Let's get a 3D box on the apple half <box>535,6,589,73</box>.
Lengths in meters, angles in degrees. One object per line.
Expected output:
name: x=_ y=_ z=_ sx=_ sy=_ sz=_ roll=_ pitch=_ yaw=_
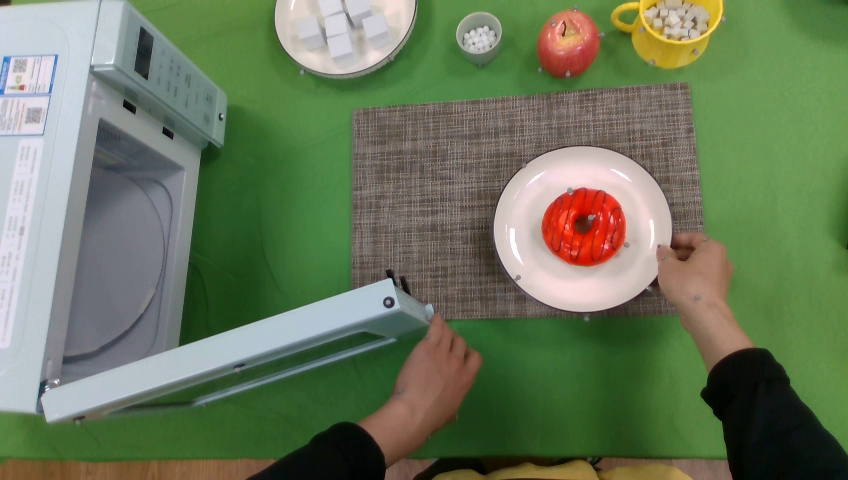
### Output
apple half: x=0.173 y=-0.253 z=0.789 sx=0.053 sy=0.075 sz=0.080 roll=-29 pitch=79 yaw=7

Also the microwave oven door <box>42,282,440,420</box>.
microwave oven door: x=-0.172 y=0.124 z=0.664 sx=0.356 sy=0.245 sz=0.039 roll=-19 pitch=75 yaw=5

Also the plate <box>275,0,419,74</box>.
plate: x=-0.108 y=-0.330 z=0.866 sx=0.207 sy=0.039 sz=0.206 roll=-2 pitch=79 yaw=9

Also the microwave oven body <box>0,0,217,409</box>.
microwave oven body: x=-0.466 y=-0.031 z=0.746 sx=0.325 sy=0.261 sz=0.440 roll=0 pitch=80 yaw=9

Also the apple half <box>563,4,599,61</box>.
apple half: x=0.207 y=-0.272 z=0.786 sx=0.033 sy=0.082 sz=0.081 roll=-30 pitch=75 yaw=7

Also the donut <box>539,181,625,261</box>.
donut: x=0.187 y=-0.022 z=0.718 sx=0.099 sy=0.048 sz=0.098 roll=-3 pitch=78 yaw=12

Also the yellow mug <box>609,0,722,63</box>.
yellow mug: x=0.305 y=-0.289 z=0.778 sx=0.130 sy=0.064 sz=0.099 roll=8 pitch=80 yaw=11

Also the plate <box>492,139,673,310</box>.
plate: x=0.187 y=-0.019 z=0.729 sx=0.209 sy=0.038 sz=0.208 roll=-3 pitch=76 yaw=12

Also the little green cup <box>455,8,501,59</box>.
little green cup: x=0.075 y=-0.280 z=0.827 sx=0.061 sy=0.039 sz=0.061 roll=-2 pitch=78 yaw=9

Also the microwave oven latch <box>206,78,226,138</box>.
microwave oven latch: x=-0.297 y=-0.184 z=0.848 sx=0.030 sy=0.029 sz=0.079 roll=2 pitch=80 yaw=9
